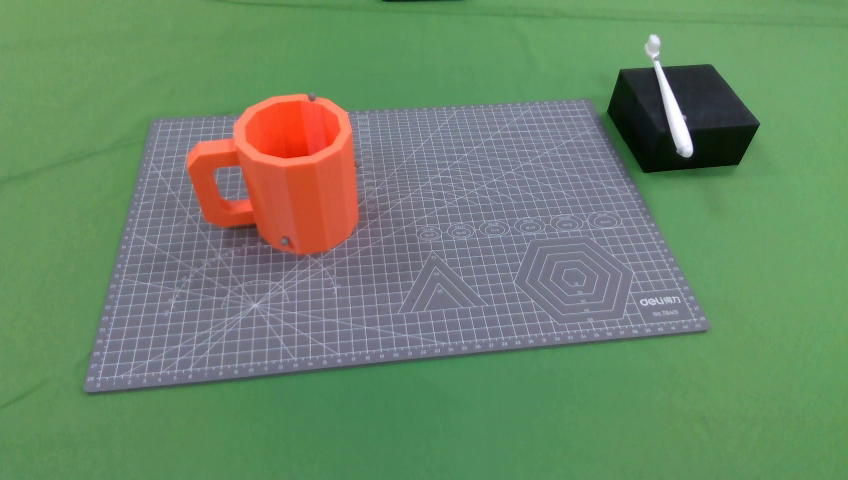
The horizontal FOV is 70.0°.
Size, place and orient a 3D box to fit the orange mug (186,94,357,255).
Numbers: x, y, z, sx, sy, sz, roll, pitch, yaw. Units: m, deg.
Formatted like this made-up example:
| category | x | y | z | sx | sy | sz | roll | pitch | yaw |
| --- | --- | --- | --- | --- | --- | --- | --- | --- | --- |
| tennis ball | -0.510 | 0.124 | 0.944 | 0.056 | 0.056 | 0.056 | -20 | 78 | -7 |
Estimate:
| category | x | y | z | sx | sy | sz | roll | pitch | yaw |
| --- | --- | --- | --- | --- | --- | --- | --- | --- | --- |
| orange mug | -0.117 | -0.049 | 0.479 | 0.126 | 0.101 | 0.082 | -7 | 49 | -15 |

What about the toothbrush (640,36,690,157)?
| category | x | y | z | sx | sy | sz | roll | pitch | yaw |
| --- | --- | --- | --- | --- | --- | --- | --- | --- | --- |
| toothbrush | 0.228 | -0.141 | 0.574 | 0.014 | 0.017 | 0.180 | 6 | 49 | -2 |
